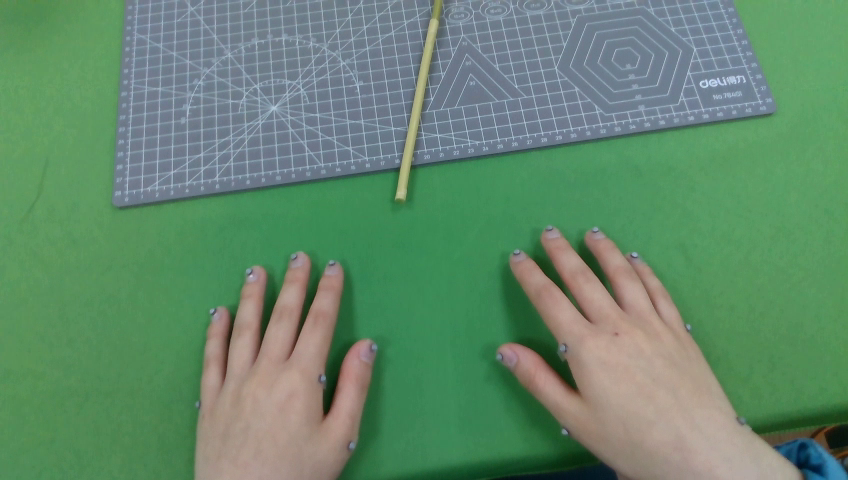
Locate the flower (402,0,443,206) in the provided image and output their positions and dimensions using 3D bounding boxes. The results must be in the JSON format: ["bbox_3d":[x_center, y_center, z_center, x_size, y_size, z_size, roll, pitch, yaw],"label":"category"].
[{"bbox_3d":[0.012,-0.195,0.452,0.044,0.038,0.359,17,72,-31],"label":"flower"}]
